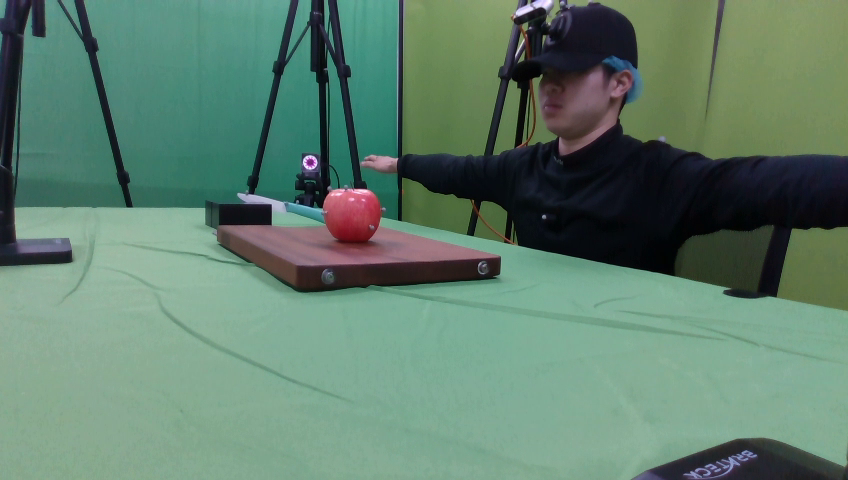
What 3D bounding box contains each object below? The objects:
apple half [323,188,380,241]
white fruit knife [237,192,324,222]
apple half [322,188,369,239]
[{"bbox_3d":[-0.094,-0.034,0.839,0.081,0.074,0.053,1,11,-41],"label":"apple half"},{"bbox_3d":[-0.286,-0.069,1.251,0.208,0.027,0.016,14,-1,-35],"label":"white fruit knife"},{"bbox_3d":[-0.119,-0.040,0.868,0.082,0.081,0.032,-4,14,-41],"label":"apple half"}]
